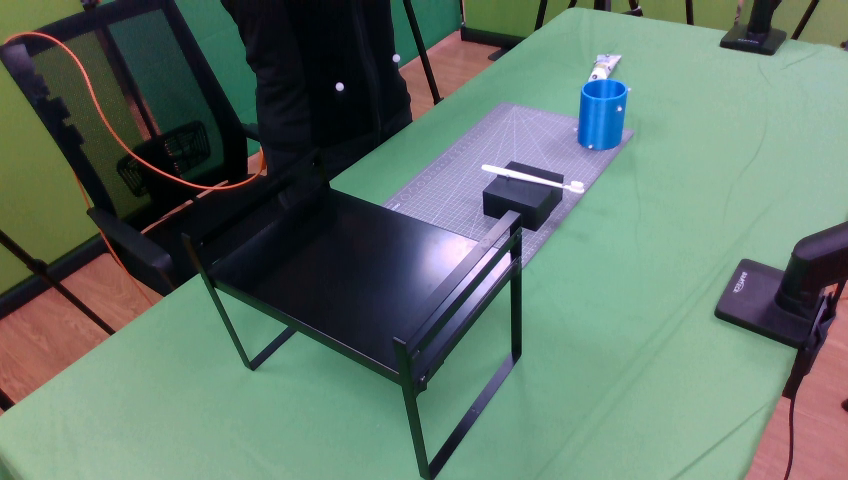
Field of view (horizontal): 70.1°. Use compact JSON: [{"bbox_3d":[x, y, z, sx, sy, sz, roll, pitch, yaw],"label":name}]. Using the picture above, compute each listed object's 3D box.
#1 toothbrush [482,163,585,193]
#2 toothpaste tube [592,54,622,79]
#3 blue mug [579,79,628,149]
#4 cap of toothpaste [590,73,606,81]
[{"bbox_3d":[0.178,-0.105,0.997,0.180,0.017,0.014,17,51,26],"label":"toothbrush"},{"bbox_3d":[0.409,-0.390,1.364,0.055,0.034,0.165,13,41,17],"label":"toothpaste tube"},{"bbox_3d":[0.336,-0.246,1.143,0.082,0.106,0.116,0,41,10],"label":"blue mug"},{"bbox_3d":[0.377,-0.345,1.308,0.037,0.037,0.011,10,40,19],"label":"cap of toothpaste"}]
